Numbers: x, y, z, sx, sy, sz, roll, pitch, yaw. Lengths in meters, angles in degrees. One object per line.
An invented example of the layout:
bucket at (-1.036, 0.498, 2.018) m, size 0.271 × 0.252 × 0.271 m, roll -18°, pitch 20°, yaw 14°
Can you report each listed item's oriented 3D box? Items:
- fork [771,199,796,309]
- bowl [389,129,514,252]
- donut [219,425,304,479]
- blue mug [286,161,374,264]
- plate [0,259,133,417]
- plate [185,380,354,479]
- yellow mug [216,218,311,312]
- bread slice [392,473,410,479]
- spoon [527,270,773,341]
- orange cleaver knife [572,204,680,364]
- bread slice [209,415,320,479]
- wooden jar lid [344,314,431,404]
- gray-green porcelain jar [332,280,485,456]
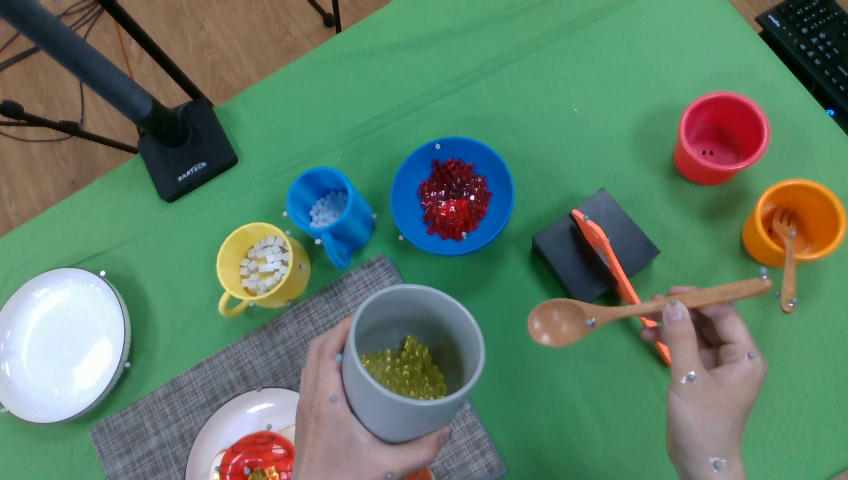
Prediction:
fork at (0.382, 0.009, 0.640) m, size 0.028 × 0.019 × 0.206 m, roll 32°, pitch 39°, yaw 9°
bowl at (0.038, -0.051, 0.751) m, size 0.151 × 0.077 × 0.150 m, roll -2°, pitch 76°, yaw 9°
donut at (-0.186, 0.264, 0.698) m, size 0.099 × 0.048 × 0.098 m, roll -2°, pitch 75°, yaw 6°
blue mug at (-0.113, -0.026, 0.756) m, size 0.082 × 0.106 × 0.116 m, roll -11°, pitch 74°, yaw 7°
plate at (-0.484, 0.130, 0.815) m, size 0.207 × 0.039 × 0.206 m, roll -2°, pitch 76°, yaw 9°
plate at (-0.180, 0.274, 0.723) m, size 0.209 × 0.038 × 0.208 m, roll -2°, pitch 76°, yaw 9°
yellow mug at (-0.214, 0.039, 0.778) m, size 0.099 × 0.064 × 0.131 m, roll 37°, pitch 86°, yaw 17°
bread slice at (-0.011, 0.302, 0.642) m, size 0.018 × 0.135 × 0.106 m, roll -22°, pitch 71°, yaw -5°
spoon at (0.170, 0.051, 0.481) m, size 0.193 × 0.022 × 0.041 m, roll -17°, pitch 82°, yaw 39°
orange cleaver knife at (0.229, 0.050, 0.691) m, size 0.012 × 0.077 × 0.212 m, roll -33°, pitch 103°, yaw 1°
bread slice at (-0.192, 0.280, 0.728) m, size 0.131 × 0.019 × 0.104 m, roll -17°, pitch 73°, yaw 1°
wooden jar lid at (-0.044, 0.145, 0.742) m, size 0.108 × 0.021 × 0.108 m, roll -2°, pitch 77°, yaw 9°
gray-green porcelain jar at (-0.019, 0.111, 0.500) m, size 0.106 × 0.127 × 0.105 m, roll 9°, pitch 49°, yaw -10°
